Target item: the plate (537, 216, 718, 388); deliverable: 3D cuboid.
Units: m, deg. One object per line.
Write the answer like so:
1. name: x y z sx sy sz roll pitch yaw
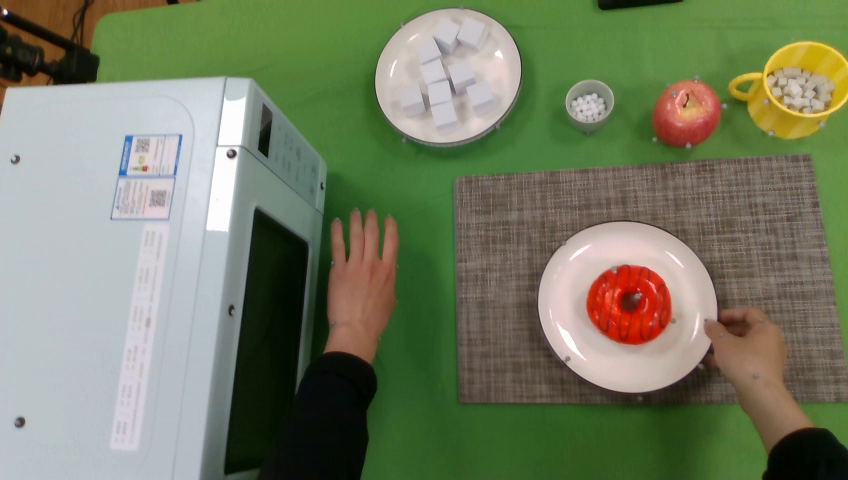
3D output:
1. plate: 0.242 0.074 0.737 0.209 0.038 0.208 -2 76 10

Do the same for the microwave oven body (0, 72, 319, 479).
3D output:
1. microwave oven body: -0.325 0.063 0.725 0.325 0.262 0.439 0 77 10

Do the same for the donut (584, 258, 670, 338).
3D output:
1. donut: 0.242 0.070 0.725 0.099 0.048 0.098 -2 78 10

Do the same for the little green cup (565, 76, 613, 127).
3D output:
1. little green cup: 0.219 -0.181 0.806 0.061 0.039 0.061 -3 76 10

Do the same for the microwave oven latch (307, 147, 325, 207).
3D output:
1. microwave oven latch: -0.153 -0.086 0.831 0.030 0.030 0.079 2 78 10

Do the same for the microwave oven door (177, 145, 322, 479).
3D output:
1. microwave oven door: -0.184 0.103 0.684 0.039 0.245 0.354 0 76 11

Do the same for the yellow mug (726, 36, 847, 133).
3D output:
1. yellow mug: 0.447 -0.193 0.752 0.130 0.064 0.099 8 78 13

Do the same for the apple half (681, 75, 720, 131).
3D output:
1. apple half: 0.350 -0.175 0.761 0.033 0.082 0.081 -30 73 7

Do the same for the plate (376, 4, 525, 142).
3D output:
1. plate: 0.037 -0.230 0.850 0.207 0.039 0.206 -2 76 10

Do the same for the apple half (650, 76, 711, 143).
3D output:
1. apple half: 0.315 -0.156 0.764 0.053 0.075 0.080 -29 77 7
